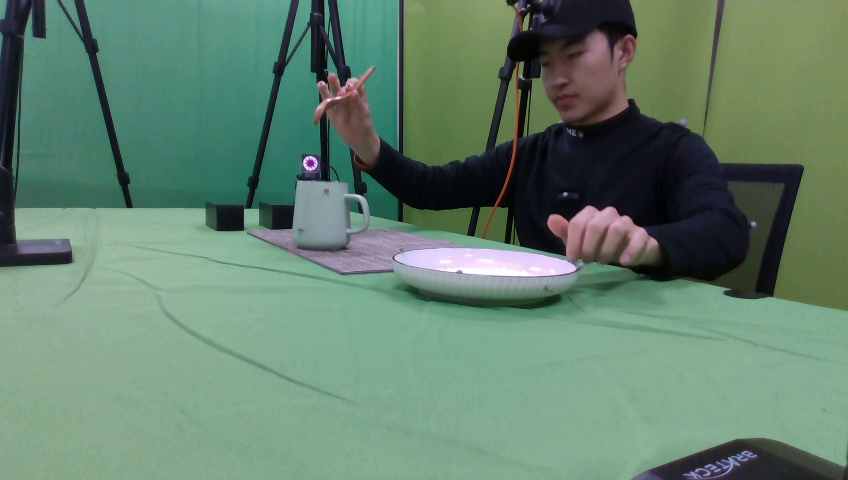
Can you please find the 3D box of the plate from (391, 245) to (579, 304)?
[{"bbox_3d":[0.066,0.037,0.683,0.209,0.038,0.209,2,7,0],"label":"plate"}]

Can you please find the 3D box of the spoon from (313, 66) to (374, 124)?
[{"bbox_3d":[-0.137,-0.254,1.044,0.194,0.021,0.041,-50,2,-42],"label":"spoon"}]

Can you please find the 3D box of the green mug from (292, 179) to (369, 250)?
[{"bbox_3d":[-0.144,-0.040,0.944,0.125,0.105,0.093,4,7,16],"label":"green mug"}]
